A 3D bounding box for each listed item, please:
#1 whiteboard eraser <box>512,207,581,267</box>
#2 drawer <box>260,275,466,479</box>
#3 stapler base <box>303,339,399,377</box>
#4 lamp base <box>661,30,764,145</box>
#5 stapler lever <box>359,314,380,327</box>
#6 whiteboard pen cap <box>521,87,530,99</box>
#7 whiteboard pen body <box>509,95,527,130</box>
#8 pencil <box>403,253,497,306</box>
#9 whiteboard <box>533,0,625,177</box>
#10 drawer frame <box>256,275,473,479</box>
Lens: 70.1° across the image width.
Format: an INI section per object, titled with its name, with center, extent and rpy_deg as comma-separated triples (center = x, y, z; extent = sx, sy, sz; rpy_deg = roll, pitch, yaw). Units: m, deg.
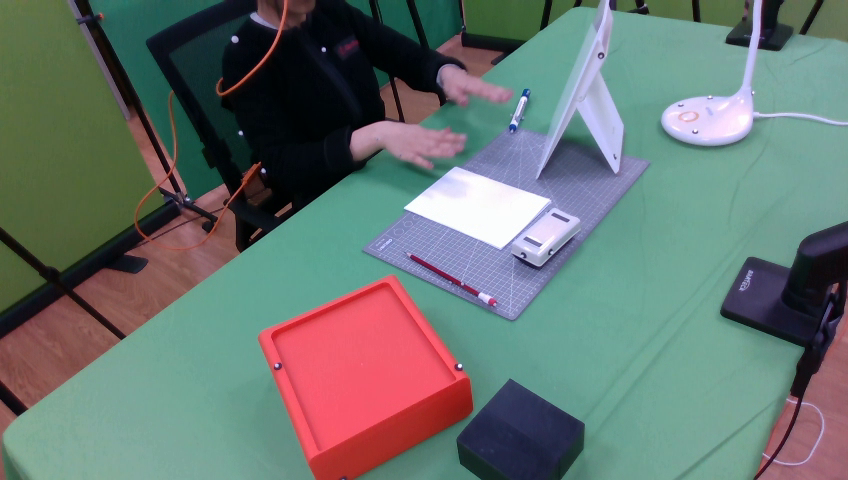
[whiteboard eraser]
center = 0.189, -0.003, 0.930
extent = 0.055, 0.042, 0.113
rpy_deg = 27, 52, 36
[drawer]
center = -0.080, 0.162, 0.760
extent = 0.195, 0.073, 0.210
rpy_deg = -22, 42, -16
[stapler base]
center = -0.099, 0.150, 0.805
extent = 0.130, 0.024, 0.041
rpy_deg = -12, 25, 1
[lamp base]
center = 0.535, -0.287, 1.096
extent = 0.179, 0.181, 0.159
rpy_deg = -10, 40, -4
[stapler lever]
center = -0.106, 0.127, 0.792
extent = 0.118, 0.040, 0.026
rpy_deg = -14, 25, 2
[whiteboard pen cap]
center = 0.218, -0.313, 1.301
extent = 0.018, 0.018, 0.033
rpy_deg = 6, 47, 18
[whiteboard pen body]
center = 0.199, -0.272, 1.261
extent = 0.017, 0.017, 0.140
rpy_deg = 7, 45, 18
[pencil]
center = 0.034, 0.056, 0.914
extent = 0.192, 0.012, 0.012
rpy_deg = 27, 52, 38
[whiteboard]
center = 0.321, -0.258, 1.049
extent = 0.144, 0.306, 0.217
rpy_deg = 20, 45, 4
[drawer frame]
center = -0.078, 0.164, 0.756
extent = 0.202, 0.083, 0.211
rpy_deg = -23, 43, -17
